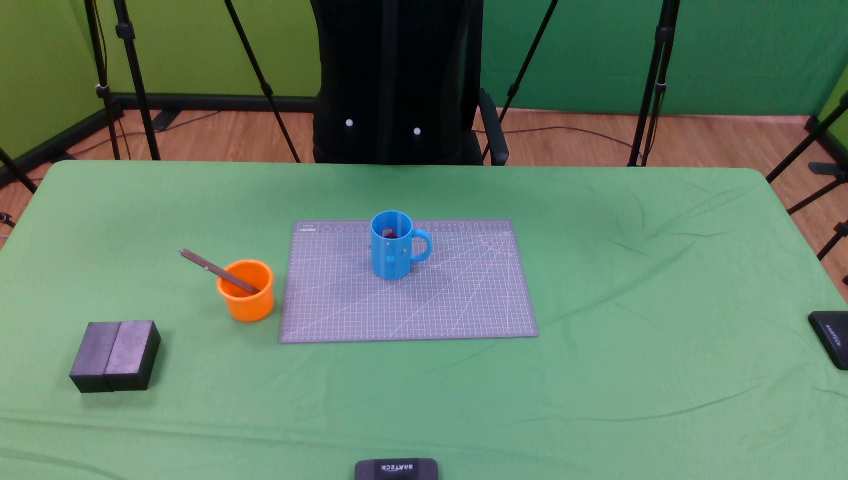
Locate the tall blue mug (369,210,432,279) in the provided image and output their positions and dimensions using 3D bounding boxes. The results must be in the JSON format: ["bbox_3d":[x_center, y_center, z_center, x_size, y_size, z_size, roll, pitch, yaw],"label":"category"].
[{"bbox_3d":[-0.048,0.005,1.125,0.107,0.108,0.077,-19,50,-21],"label":"tall blue mug"}]

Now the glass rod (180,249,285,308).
[{"bbox_3d":[-0.322,0.068,1.028,0.200,0.008,0.008,34,40,-25],"label":"glass rod"}]
